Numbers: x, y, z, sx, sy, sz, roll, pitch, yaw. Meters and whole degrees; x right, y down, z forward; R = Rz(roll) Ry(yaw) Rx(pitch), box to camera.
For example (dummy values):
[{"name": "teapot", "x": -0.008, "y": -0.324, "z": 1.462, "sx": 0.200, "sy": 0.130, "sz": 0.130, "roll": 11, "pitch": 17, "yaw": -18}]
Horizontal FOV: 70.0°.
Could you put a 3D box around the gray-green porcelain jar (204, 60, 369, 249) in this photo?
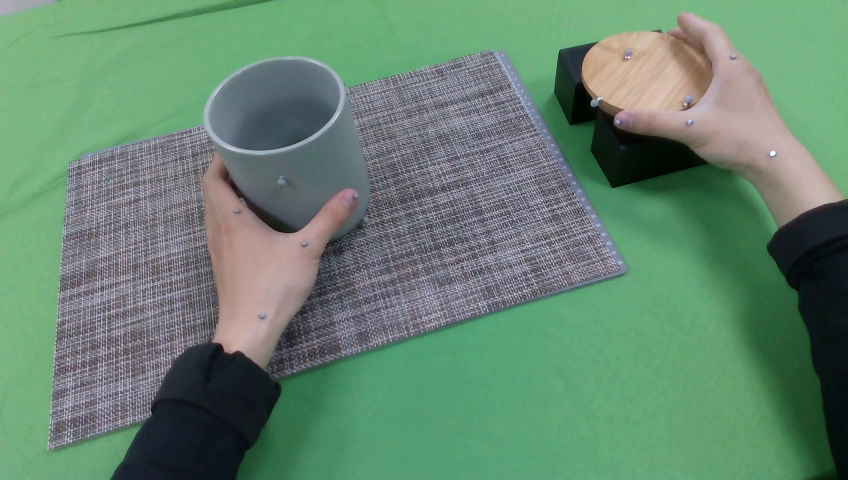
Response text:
[{"name": "gray-green porcelain jar", "x": -0.103, "y": -0.062, "z": 0.494, "sx": 0.106, "sy": 0.128, "sz": 0.105, "roll": -3, "pitch": 54, "yaw": 5}]

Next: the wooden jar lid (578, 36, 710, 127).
[{"name": "wooden jar lid", "x": 0.188, "y": -0.137, "z": 0.525, "sx": 0.108, "sy": 0.021, "sz": 0.107, "roll": -2, "pitch": 55, "yaw": 4}]
